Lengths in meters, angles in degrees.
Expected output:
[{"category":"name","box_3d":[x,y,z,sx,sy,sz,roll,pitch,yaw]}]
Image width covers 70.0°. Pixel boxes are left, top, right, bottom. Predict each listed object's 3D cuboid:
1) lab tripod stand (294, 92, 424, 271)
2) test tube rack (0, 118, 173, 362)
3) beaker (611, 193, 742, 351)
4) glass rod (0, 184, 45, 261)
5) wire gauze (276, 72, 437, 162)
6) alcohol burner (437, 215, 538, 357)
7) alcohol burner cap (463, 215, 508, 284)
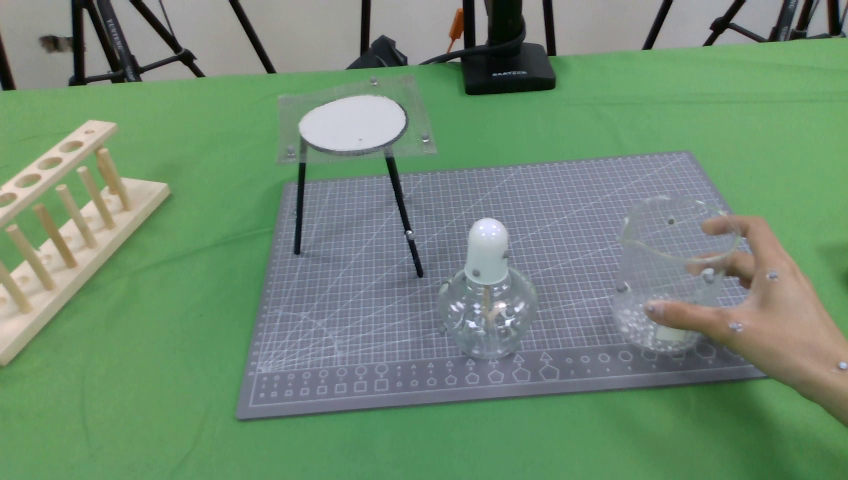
[{"category":"lab tripod stand","box_3d":[-0.055,-0.051,0.541,0.148,0.133,0.147,-3,44,3]},{"category":"test tube rack","box_3d":[-0.343,-0.013,0.561,0.066,0.086,0.240,9,43,14]},{"category":"beaker","box_3d":[0.178,0.027,0.450,0.084,0.101,0.073,-6,39,-2]},{"category":"glass rod","box_3d":[-0.375,-0.061,0.518,0.008,0.201,0.008,-6,35,4]},{"category":"wire gauze","box_3d":[-0.060,-0.101,0.496,0.125,0.011,0.120,-9,42,-4]},{"category":"alcohol burner","box_3d":[0.048,0.031,0.455,0.078,0.120,0.077,-3,40,3]},{"category":"alcohol burner cap","box_3d":[0.045,0.005,0.431,0.034,0.048,0.033,0,40,1]}]
